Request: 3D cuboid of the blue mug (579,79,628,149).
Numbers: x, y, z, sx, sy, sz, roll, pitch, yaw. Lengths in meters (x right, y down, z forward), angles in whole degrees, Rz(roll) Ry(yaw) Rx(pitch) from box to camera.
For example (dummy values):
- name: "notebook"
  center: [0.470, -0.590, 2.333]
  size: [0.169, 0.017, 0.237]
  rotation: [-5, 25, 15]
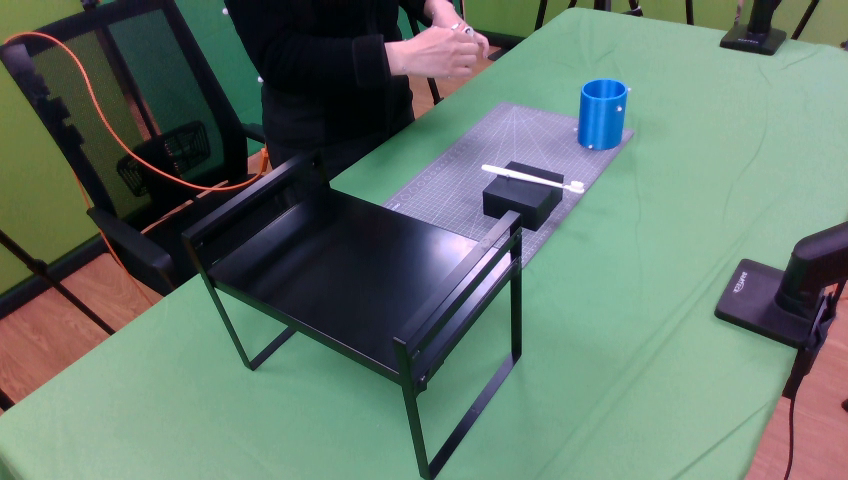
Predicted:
- name: "blue mug"
  center: [0.336, -0.246, 1.143]
  size: [0.082, 0.106, 0.116]
  rotation: [0, 41, 10]

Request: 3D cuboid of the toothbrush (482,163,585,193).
- name: "toothbrush"
  center: [0.178, -0.105, 0.997]
  size: [0.180, 0.017, 0.014]
  rotation: [17, 51, 26]

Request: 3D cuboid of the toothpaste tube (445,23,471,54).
- name: "toothpaste tube"
  center: [0.067, -0.369, 1.120]
  size: [0.055, 0.034, 0.165]
  rotation: [22, 7, -2]

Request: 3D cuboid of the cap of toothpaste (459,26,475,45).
- name: "cap of toothpaste"
  center: [0.072, -0.351, 1.031]
  size: [0.037, 0.037, 0.011]
  rotation: [-33, 68, -27]
